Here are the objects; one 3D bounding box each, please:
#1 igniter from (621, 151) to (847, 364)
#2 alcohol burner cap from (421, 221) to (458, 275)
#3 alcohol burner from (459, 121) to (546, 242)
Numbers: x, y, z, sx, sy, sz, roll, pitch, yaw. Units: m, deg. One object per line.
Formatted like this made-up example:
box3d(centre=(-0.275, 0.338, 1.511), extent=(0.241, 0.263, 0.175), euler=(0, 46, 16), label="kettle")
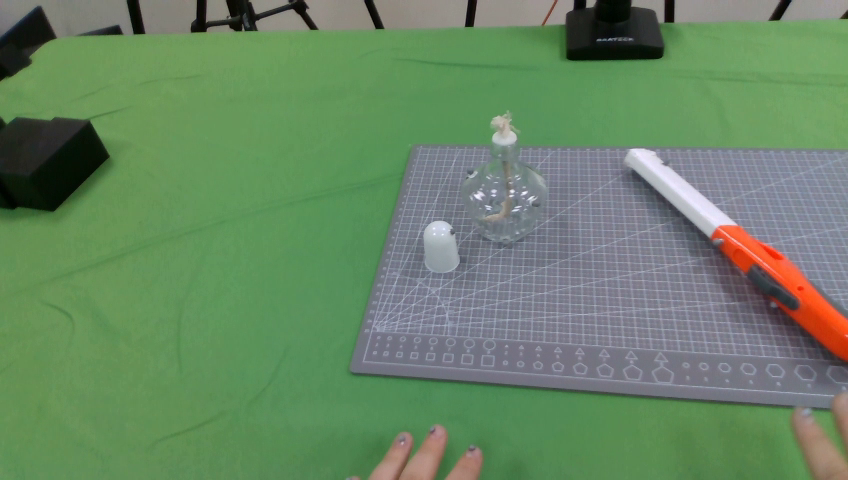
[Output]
box3d(centre=(0.260, 0.002, 0.511), extent=(0.057, 0.025, 0.273), euler=(-1, 38, -26), label="igniter")
box3d(centre=(0.013, 0.004, 0.533), extent=(0.034, 0.048, 0.033), euler=(-3, 45, 4), label="alcohol burner cap")
box3d(centre=(0.069, -0.055, 0.534), extent=(0.078, 0.120, 0.077), euler=(-2, 46, 3), label="alcohol burner")
